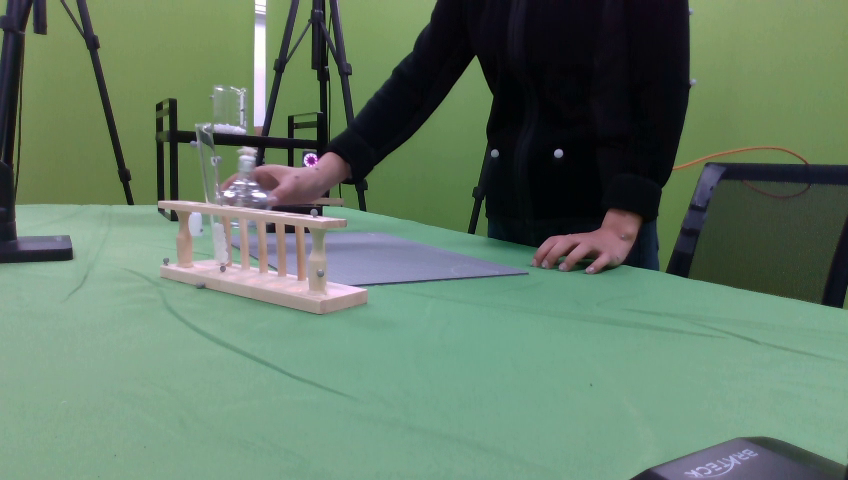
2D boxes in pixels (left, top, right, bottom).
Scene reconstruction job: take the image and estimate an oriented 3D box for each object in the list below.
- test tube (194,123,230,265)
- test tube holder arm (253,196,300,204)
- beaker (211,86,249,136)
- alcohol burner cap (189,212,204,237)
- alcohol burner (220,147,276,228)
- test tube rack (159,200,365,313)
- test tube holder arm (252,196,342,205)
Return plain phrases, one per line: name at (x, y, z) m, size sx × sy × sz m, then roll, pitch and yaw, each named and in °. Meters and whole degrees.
test tube at (-0.218, -0.045, 0.624) m, size 0.017 × 0.150 × 0.017 m, roll -2°, pitch 19°, yaw 1°
test tube holder arm at (-0.276, -0.075, 1.135) m, size 0.088 × 0.015 × 0.010 m, roll -1°, pitch 8°, yaw -32°
beaker at (-0.413, -0.274, 1.297) m, size 0.074 × 0.100 × 0.083 m, roll -5°, pitch 11°, yaw -44°
alcohol burner cap at (-0.390, -0.029, 1.026) m, size 0.034 × 0.048 × 0.034 m, roll 2°, pitch 9°, yaw 0°
alcohol burner at (-0.257, -0.077, 0.888) m, size 0.078 × 0.119 × 0.078 m, roll 4°, pitch 6°, yaw 0°
test tube rack at (-0.173, 0.009, 0.624) m, size 0.241 × 0.085 × 0.067 m, roll 7°, pitch 9°, yaw 34°
test tube holder arm at (-0.241, -0.076, 1.164) m, size 0.179 × 0.015 × 0.013 m, roll -1°, pitch 8°, yaw -33°
